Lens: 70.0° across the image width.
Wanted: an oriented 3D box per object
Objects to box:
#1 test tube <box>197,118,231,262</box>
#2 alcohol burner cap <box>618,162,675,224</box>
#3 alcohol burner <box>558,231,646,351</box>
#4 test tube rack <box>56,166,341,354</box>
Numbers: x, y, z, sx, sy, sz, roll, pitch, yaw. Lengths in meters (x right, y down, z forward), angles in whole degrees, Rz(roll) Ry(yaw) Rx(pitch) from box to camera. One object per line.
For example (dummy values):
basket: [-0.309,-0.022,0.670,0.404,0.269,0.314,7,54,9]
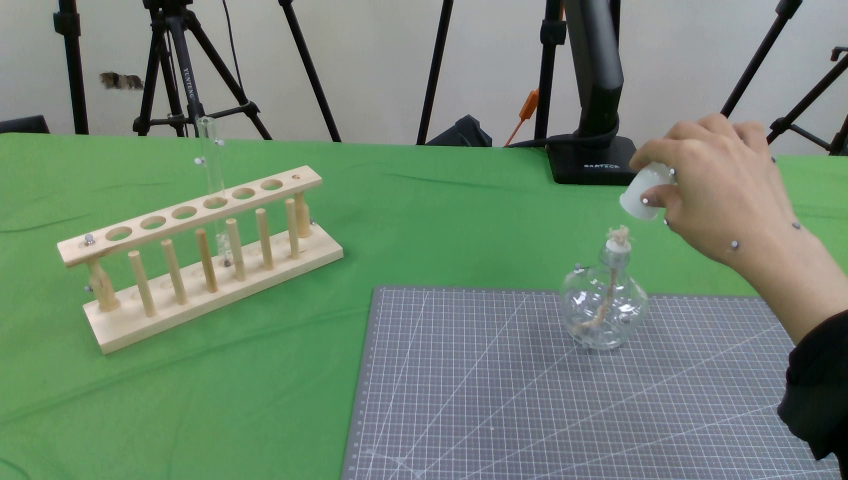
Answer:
test tube: [-0.200,-0.043,0.582,0.017,0.151,0.017,3,31,-1]
alcohol burner cap: [0.178,-0.040,0.477,0.034,0.048,0.033,11,43,-10]
alcohol burner: [0.159,0.039,0.532,0.078,0.120,0.077,1,38,-1]
test tube rack: [-0.205,0.011,0.591,0.243,0.086,0.066,-23,42,-29]
